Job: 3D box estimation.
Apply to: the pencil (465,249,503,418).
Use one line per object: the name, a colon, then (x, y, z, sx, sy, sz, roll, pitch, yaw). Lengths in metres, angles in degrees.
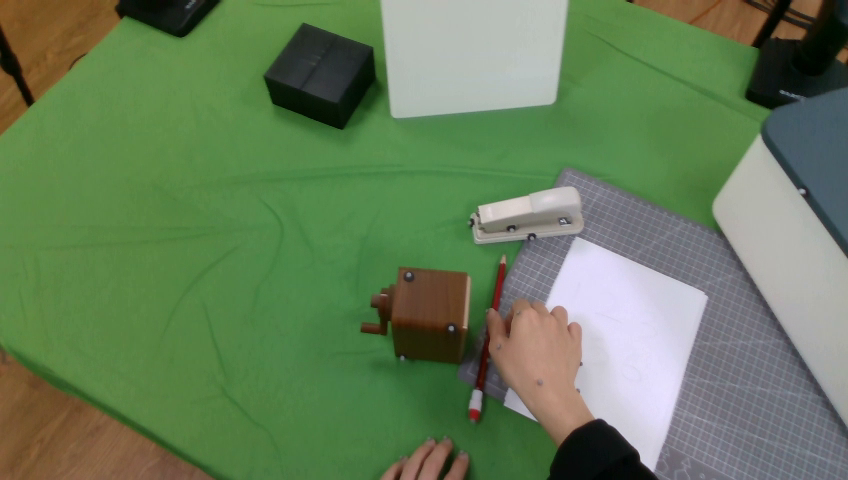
pencil: (0.067, 0.093, 0.643, 0.012, 0.012, 0.192, 12, 63, 5)

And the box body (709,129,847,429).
box body: (0.496, 0.031, 0.602, 0.254, 0.161, 0.360, -17, 64, -10)

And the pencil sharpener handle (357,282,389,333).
pencil sharpener handle: (-0.050, 0.067, 0.586, 0.030, 0.068, 0.035, 5, 46, 2)

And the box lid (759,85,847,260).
box lid: (0.497, -0.005, 0.537, 0.264, 0.015, 0.368, -17, 65, -10)

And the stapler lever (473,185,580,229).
stapler lever: (0.115, -0.037, 0.676, 0.118, 0.040, 0.026, -7, 59, -2)

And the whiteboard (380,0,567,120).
whiteboard: (0.052, -0.324, 0.728, 0.217, 0.308, 0.142, -6, 44, -4)

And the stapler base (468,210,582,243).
stapler base: (0.117, -0.025, 0.698, 0.130, 0.024, 0.041, -7, 59, -1)

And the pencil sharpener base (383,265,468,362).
pencil sharpener base: (0.001, 0.075, 0.599, 0.076, 0.108, 0.061, 5, 63, 2)
